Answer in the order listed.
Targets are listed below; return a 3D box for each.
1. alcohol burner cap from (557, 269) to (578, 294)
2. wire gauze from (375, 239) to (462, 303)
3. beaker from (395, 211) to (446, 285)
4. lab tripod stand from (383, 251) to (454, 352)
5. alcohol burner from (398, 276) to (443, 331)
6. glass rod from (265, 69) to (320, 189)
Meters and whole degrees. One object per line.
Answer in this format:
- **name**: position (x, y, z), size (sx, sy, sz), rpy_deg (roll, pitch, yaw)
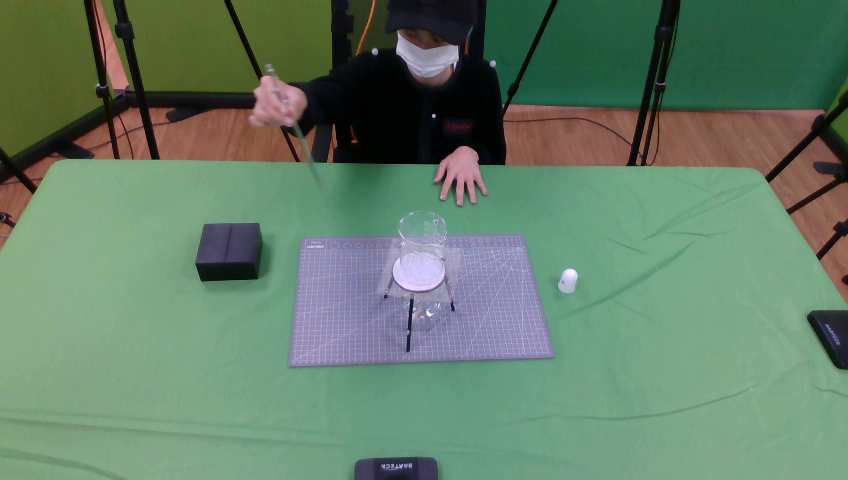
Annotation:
- **alcohol burner cap**: position (0.270, 0.074, 1.135), size (0.034, 0.048, 0.033), rpy_deg (3, 46, -2)
- **wire gauze**: position (-0.006, 0.049, 0.977), size (0.121, 0.011, 0.124), rpy_deg (10, 44, 5)
- **beaker**: position (-0.002, 0.017, 0.941), size (0.083, 0.101, 0.074), rpy_deg (36, 54, 29)
- **lab tripod stand**: position (-0.015, 0.094, 1.025), size (0.148, 0.132, 0.147), rpy_deg (1, 46, -1)
- **alcohol burner**: position (-0.005, 0.101, 1.033), size (0.078, 0.119, 0.077), rpy_deg (3, 48, -3)
- **glass rod**: position (-0.188, -0.154, 0.874), size (0.008, 0.201, 0.008), rpy_deg (-11, 39, 9)
